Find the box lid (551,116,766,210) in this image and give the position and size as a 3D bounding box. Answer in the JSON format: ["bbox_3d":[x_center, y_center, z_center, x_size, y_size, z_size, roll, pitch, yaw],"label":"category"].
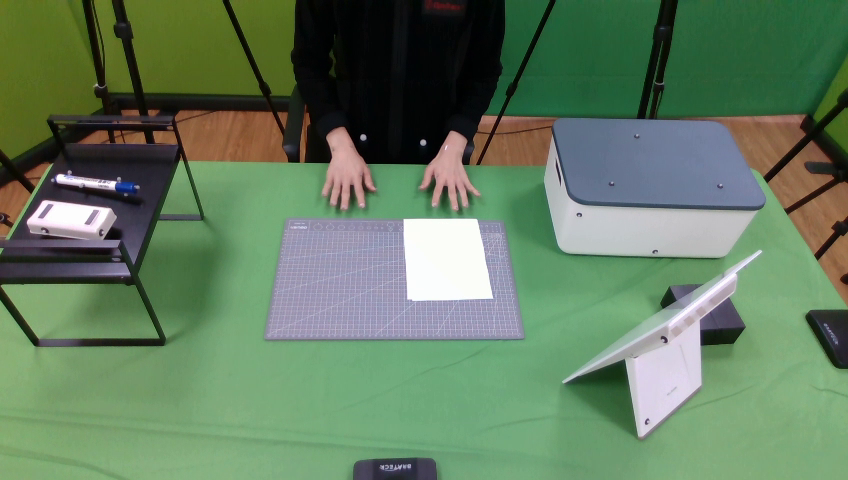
[{"bbox_3d":[0.446,-0.155,1.178,0.372,0.015,0.261,1,47,-2],"label":"box lid"}]

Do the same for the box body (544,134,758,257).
[{"bbox_3d":[0.441,-0.103,1.233,0.364,0.161,0.252,1,46,-3],"label":"box body"}]

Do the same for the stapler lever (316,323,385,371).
[{"bbox_3d":[-0.120,0.171,0.979,0.118,0.040,0.027,21,49,15],"label":"stapler lever"}]

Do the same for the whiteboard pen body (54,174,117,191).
[{"bbox_3d":[-0.541,-0.093,0.993,0.140,0.017,0.017,7,46,8],"label":"whiteboard pen body"}]

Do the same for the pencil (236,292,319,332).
[{"bbox_3d":[-0.244,0.131,1.055,0.193,0.012,0.012,22,49,12],"label":"pencil"}]

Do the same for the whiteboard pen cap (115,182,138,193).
[{"bbox_3d":[-0.483,-0.086,0.984,0.033,0.018,0.018,7,46,10],"label":"whiteboard pen cap"}]

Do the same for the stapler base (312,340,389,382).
[{"bbox_3d":[-0.123,0.189,0.997,0.130,0.024,0.041,20,49,16],"label":"stapler base"}]

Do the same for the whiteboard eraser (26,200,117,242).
[{"bbox_3d":[-0.532,-0.026,0.919,0.113,0.042,0.055,7,45,3],"label":"whiteboard eraser"}]

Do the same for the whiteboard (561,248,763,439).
[{"bbox_3d":[0.386,0.176,0.905,0.217,0.306,0.143,-26,72,-27],"label":"whiteboard"}]
